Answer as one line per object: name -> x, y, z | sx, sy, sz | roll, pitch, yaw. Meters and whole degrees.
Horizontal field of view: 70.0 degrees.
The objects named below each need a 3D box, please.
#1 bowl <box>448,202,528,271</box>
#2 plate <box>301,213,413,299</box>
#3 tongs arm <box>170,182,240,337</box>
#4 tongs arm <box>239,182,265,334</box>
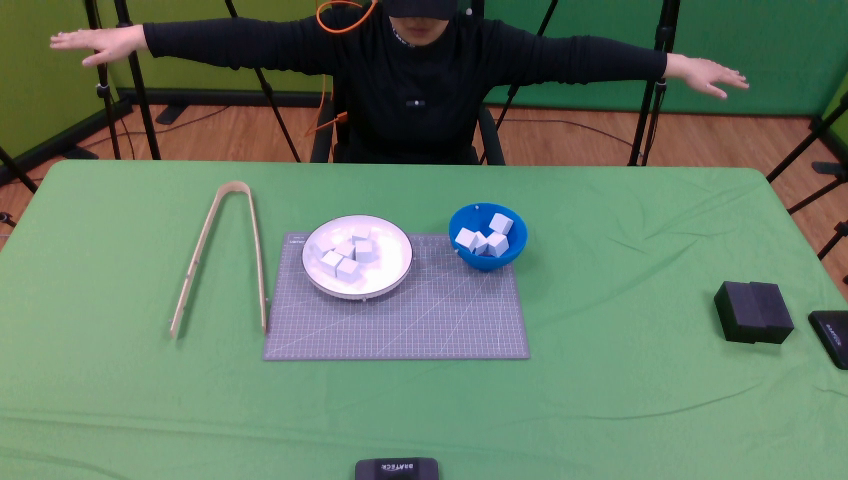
bowl -> 0.118, 0.006, 1.160 | 0.151, 0.077, 0.150 | 2, 46, -2
plate -> -0.124, 0.033, 1.143 | 0.208, 0.039, 0.206 | 2, 46, -2
tongs arm -> -0.404, 0.021, 1.138 | 0.051, 0.026, 0.382 | 1, 45, -5
tongs arm -> -0.325, 0.019, 1.151 | 0.028, 0.028, 0.384 | -11, 47, -11
